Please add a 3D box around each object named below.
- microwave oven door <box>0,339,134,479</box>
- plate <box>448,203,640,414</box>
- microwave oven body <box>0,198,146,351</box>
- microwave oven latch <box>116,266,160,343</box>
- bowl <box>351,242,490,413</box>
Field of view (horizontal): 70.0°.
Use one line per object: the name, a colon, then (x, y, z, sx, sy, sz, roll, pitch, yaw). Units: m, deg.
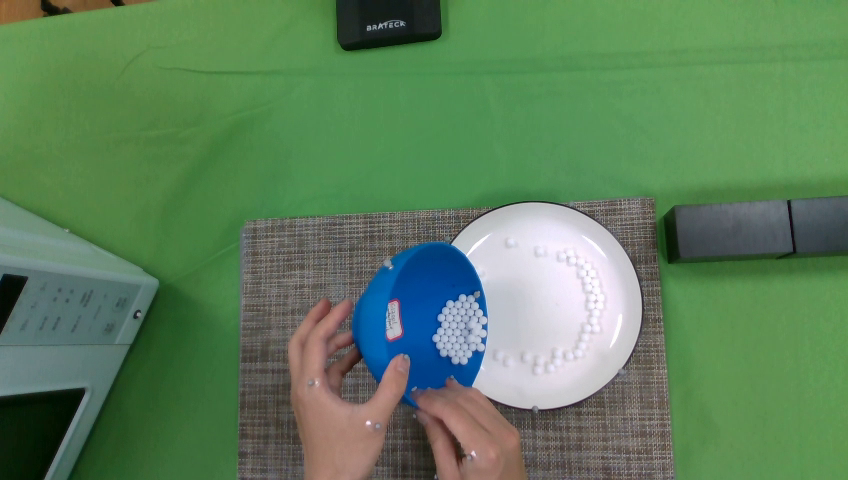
microwave oven door: (-0.432, 0.254, 0.556, 0.039, 0.245, 0.355, 23, 86, 13)
plate: (0.107, 0.067, 0.612, 0.207, 0.039, 0.207, -1, 81, 9)
microwave oven body: (-0.545, 0.161, 0.594, 0.325, 0.261, 0.441, 23, 87, 12)
microwave oven latch: (-0.323, 0.072, 0.669, 0.030, 0.029, 0.079, 25, 87, 12)
bowl: (-0.014, 0.079, 0.558, 0.076, 0.152, 0.151, -5, 79, 39)
